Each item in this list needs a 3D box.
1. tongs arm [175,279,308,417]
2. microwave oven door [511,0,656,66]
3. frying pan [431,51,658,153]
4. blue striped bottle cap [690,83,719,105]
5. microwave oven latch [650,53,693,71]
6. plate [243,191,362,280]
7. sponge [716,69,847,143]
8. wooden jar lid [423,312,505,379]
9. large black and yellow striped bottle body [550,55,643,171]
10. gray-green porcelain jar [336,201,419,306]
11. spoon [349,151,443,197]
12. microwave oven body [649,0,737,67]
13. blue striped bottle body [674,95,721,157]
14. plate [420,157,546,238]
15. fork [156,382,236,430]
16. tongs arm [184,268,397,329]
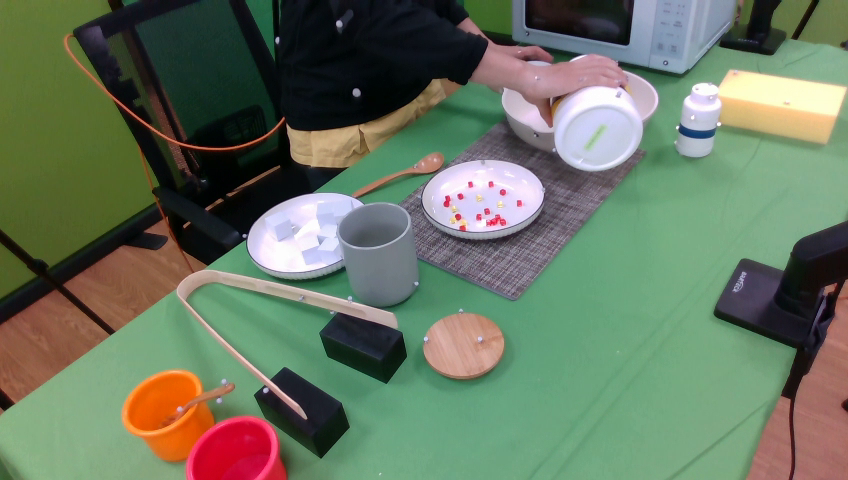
[{"bbox_3d":[-0.255,0.132,0.800,0.028,0.028,0.384,-41,40,-23],"label":"tongs arm"},{"bbox_3d":[0.350,-0.539,1.349,0.353,0.245,0.039,24,50,31],"label":"microwave oven door"},{"bbox_3d":[0.216,-0.302,1.223,0.484,0.103,0.308,29,50,24],"label":"frying pan"},{"bbox_3d":[0.481,-0.251,1.038,0.044,0.021,0.044,-5,40,5],"label":"blue striped bottle cap"},{"bbox_3d":[0.531,-0.386,1.301,0.078,0.029,0.030,26,51,33],"label":"microwave oven latch"},{"bbox_3d":[-0.188,-0.005,0.992,0.207,0.039,0.206,-4,41,4],"label":"plate"},{"bbox_3d":[0.663,-0.256,1.141,0.205,0.061,0.118,19,47,28],"label":"sponge"},{"bbox_3d":[0.053,0.142,0.800,0.108,0.021,0.108,-5,39,4],"label":"wooden jar lid"},{"bbox_3d":[0.274,-0.214,0.986,0.130,0.131,0.183,-1,41,7],"label":"large black and yellow striped bottle body"},{"bbox_3d":[-0.064,0.024,0.872,0.106,0.127,0.105,-4,41,4],"label":"gray-green porcelain jar"},{"bbox_3d":[-0.051,-0.123,1.120,0.194,0.022,0.041,-22,60,-18],"label":"spoon"},{"bbox_3d":[0.475,-0.602,1.411,0.438,0.261,0.327,23,50,32],"label":"microwave oven body"},{"bbox_3d":[0.486,-0.213,1.071,0.063,0.121,0.063,-4,41,4],"label":"blue striped bottle body"},{"bbox_3d":[0.099,-0.067,1.017,0.209,0.038,0.208,-4,40,4],"label":"plate"},{"bbox_3d":[-0.262,0.189,0.690,0.018,0.206,0.028,49,43,-7],"label":"fork"},{"bbox_3d":[-0.203,0.084,0.847,0.382,0.027,0.051,11,44,34],"label":"tongs arm"}]
